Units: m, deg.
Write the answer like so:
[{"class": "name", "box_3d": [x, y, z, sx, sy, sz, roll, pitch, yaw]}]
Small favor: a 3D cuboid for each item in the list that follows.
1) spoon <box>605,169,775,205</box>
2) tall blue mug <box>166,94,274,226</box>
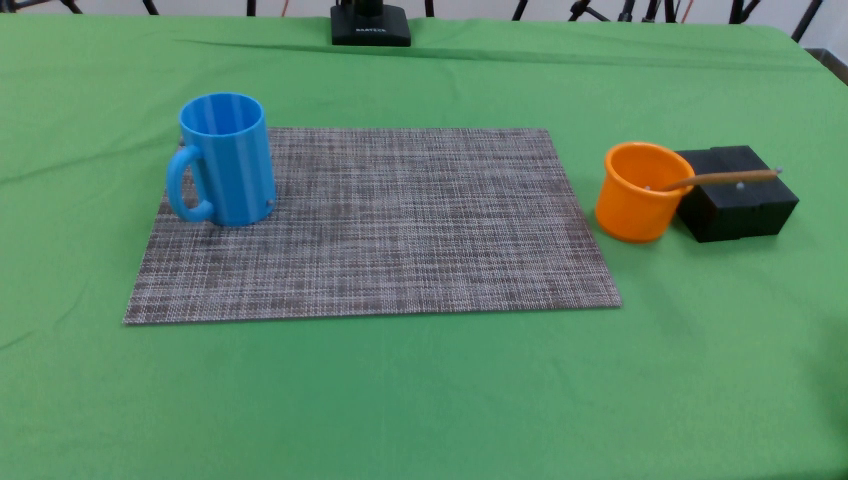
[{"class": "spoon", "box_3d": [0.254, -0.054, 0.601, 0.042, 0.193, 0.021, -18, 93, -25]}, {"class": "tall blue mug", "box_3d": [-0.194, -0.067, 0.589, 0.078, 0.109, 0.106, 5, 44, -2]}]
